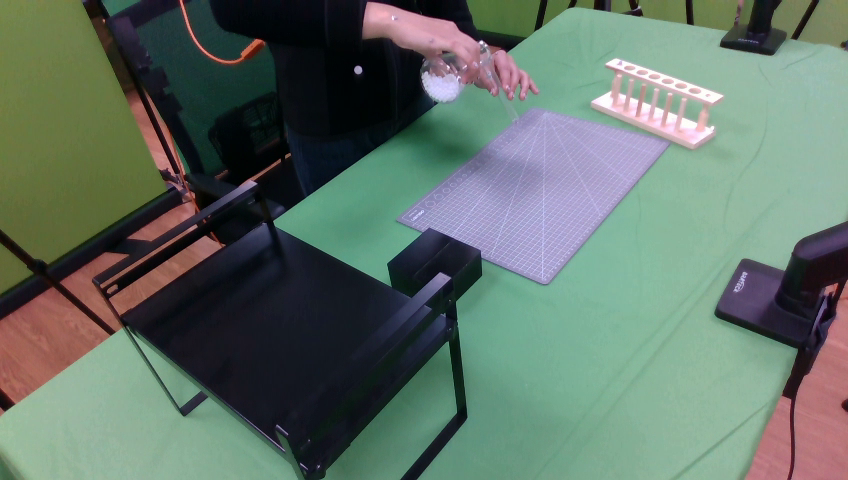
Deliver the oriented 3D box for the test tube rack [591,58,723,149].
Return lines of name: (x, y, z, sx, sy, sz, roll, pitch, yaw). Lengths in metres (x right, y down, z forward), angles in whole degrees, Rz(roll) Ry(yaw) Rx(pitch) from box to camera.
test tube rack: (0.442, -0.269, 1.171, 0.067, 0.085, 0.240, -30, 46, -24)

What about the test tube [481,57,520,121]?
test tube: (0.133, -0.255, 1.035, 0.017, 0.151, 0.017, -16, 53, 23)

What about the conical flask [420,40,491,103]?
conical flask: (0.056, -0.270, 0.936, 0.075, 0.075, 0.122, 24, 50, 32)
